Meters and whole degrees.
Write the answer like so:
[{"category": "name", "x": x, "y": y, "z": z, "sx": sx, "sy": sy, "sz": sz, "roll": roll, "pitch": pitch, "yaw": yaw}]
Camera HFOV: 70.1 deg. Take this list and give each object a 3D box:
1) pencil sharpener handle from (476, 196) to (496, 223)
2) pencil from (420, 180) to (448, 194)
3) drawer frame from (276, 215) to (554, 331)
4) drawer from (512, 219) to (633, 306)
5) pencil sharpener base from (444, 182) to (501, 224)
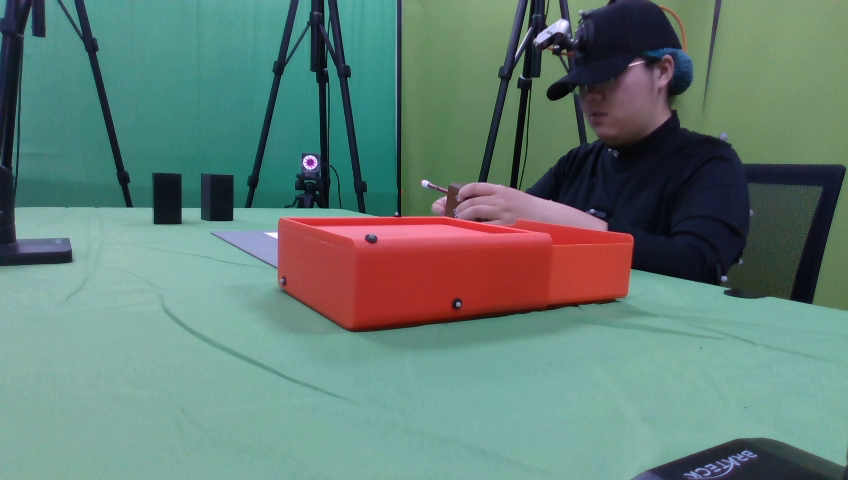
[{"category": "pencil sharpener handle", "x": 0.103, "y": -0.032, "z": 0.937, "sx": 0.036, "sy": 0.068, "sz": 0.030, "roll": -9, "pitch": 20, "yaw": -27}, {"category": "pencil", "x": 0.041, "y": -0.082, "z": 1.043, "sx": 0.012, "sy": 0.012, "sz": 0.193, "roll": -1, "pitch": 16, "yaw": -29}, {"category": "drawer frame", "x": -0.015, "y": 0.022, "z": 0.610, "sx": 0.215, "sy": 0.082, "sz": 0.200, "roll": -2, "pitch": 9, "yaw": -32}, {"category": "drawer", "x": 0.085, "y": 0.021, "z": 0.674, "sx": 0.213, "sy": 0.073, "sz": 0.193, "roll": -2, "pitch": 9, "yaw": -32}, {"category": "pencil sharpener base", "x": 0.076, "y": -0.034, "z": 0.981, "sx": 0.061, "sy": 0.107, "sz": 0.076, "roll": 0, "pitch": 16, "yaw": -29}]
